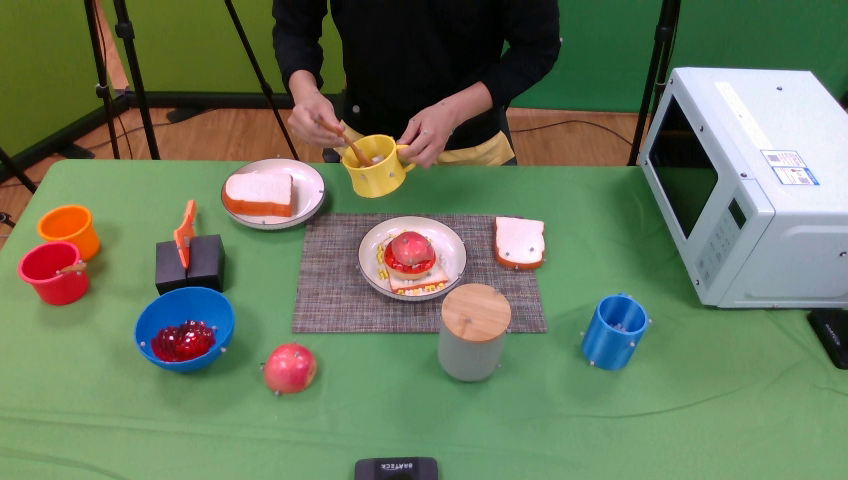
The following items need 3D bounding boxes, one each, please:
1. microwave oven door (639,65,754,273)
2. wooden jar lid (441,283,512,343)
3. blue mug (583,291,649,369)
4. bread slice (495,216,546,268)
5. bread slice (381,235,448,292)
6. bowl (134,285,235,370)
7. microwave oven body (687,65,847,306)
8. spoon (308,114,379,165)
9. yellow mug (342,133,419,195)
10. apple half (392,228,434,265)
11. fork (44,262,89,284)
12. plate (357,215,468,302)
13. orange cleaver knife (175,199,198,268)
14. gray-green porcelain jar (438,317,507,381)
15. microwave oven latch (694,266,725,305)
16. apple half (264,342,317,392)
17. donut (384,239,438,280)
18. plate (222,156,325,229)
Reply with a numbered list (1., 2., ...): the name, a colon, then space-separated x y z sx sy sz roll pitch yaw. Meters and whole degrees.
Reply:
1. microwave oven door: 0.522 -0.147 1.193 0.039 0.245 0.353 0 47 -3
2. wooden jar lid: 0.080 0.114 0.931 0.108 0.021 0.107 1 49 0
3. blue mug: 0.324 0.142 1.023 0.082 0.106 0.116 15 47 11
4. bread slice: 0.194 0.002 1.204 0.105 0.019 0.131 5 45 3
5. bread slice: -0.027 0.040 1.141 0.107 0.018 0.133 -12 49 -15
6. bowl: -0.377 0.155 0.981 0.151 0.077 0.150 2 46 -2
7. microwave oven body: 0.669 -0.111 1.176 0.326 0.261 0.439 0 46 -3
8. spoon: -0.131 -0.167 1.023 0.041 0.195 0.021 28 85 36
9. yellow mug: -0.073 -0.139 1.074 0.131 0.064 0.099 -14 43 5
10. apple half: -0.020 0.004 1.083 0.081 0.033 0.081 6 51 -7
11. fork: -0.598 0.054 1.014 0.207 0.019 0.028 -15 29 45
12. plate: -0.022 0.037 1.141 0.208 0.039 0.206 2 46 -2
13. orange cleaver knife: -0.438 -0.017 1.138 0.012 0.077 0.210 -14 27 -6
14. gray-green porcelain jar: 0.076 0.158 0.977 0.106 0.127 0.105 2 47 -2
15. microwave oven latch: 0.523 0.082 1.115 0.030 0.029 0.078 3 46 0
16. apple half: -0.214 0.198 0.970 0.074 0.053 0.080 19 48 10
17. donut: -0.025 0.029 1.110 0.099 0.048 0.098 2 46 -2
18. plate: -0.308 -0.095 1.251 0.209 0.038 0.208 2 47 -2
